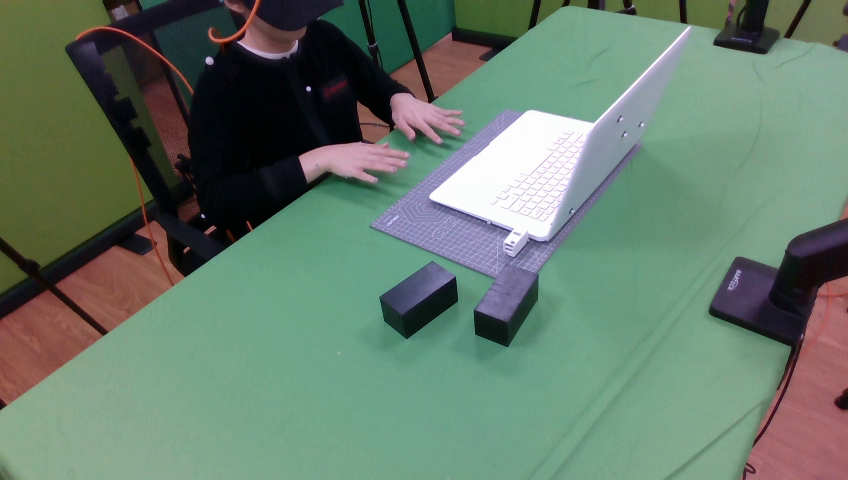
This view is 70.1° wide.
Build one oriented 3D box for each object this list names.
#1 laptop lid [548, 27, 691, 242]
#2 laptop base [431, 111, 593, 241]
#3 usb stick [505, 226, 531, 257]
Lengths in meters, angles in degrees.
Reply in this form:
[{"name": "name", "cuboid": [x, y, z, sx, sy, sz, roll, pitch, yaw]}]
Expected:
[{"name": "laptop lid", "cuboid": [0.310, -0.168, 0.950, 0.013, 0.242, 0.358, 33, 52, 20]}, {"name": "laptop base", "cuboid": [0.207, -0.130, 1.100, 0.233, 0.023, 0.355, 20, 47, 33]}, {"name": "usb stick", "cuboid": [0.150, -0.002, 0.940, 0.021, 0.027, 0.059, 22, 46, 31]}]
